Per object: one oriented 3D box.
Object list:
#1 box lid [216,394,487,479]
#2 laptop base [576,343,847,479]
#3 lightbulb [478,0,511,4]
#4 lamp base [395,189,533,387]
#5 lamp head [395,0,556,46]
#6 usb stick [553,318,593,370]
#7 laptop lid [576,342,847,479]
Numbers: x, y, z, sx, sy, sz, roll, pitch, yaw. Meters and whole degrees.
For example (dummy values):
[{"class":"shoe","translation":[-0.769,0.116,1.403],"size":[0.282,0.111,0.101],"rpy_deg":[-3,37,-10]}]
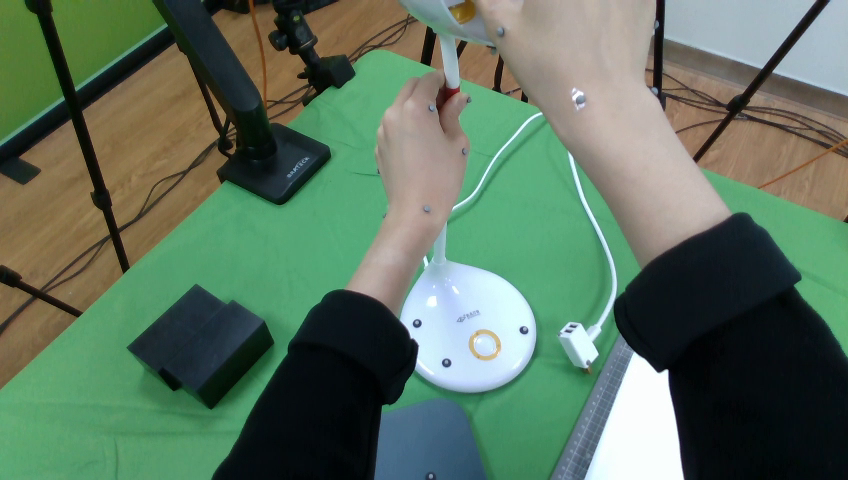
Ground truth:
[{"class":"box lid","translation":[-0.042,0.332,0.544],"size":[0.264,0.015,0.367],"rpy_deg":[-13,55,-9]},{"class":"laptop base","translation":[0.332,0.266,0.582],"size":[0.352,0.023,0.234],"rpy_deg":[23,61,17]},{"class":"lightbulb","translation":[0.032,-0.181,0.379],"size":[0.059,0.060,0.106],"rpy_deg":[-27,32,-18]},{"class":"lamp base","translation":[0.037,0.042,0.650],"size":[0.160,0.182,0.177],"rpy_deg":[-31,56,-21]},{"class":"lamp head","translation":[0.019,-0.190,0.409],"size":[0.112,0.113,0.122],"rpy_deg":[-32,29,-21]},{"class":"usb stick","translation":[0.169,0.117,0.676],"size":[0.027,0.059,0.021],"rpy_deg":[-37,19,-28]},{"class":"laptop lid","translation":[0.330,0.261,0.572],"size":[0.355,0.013,0.240],"rpy_deg":[24,60,18]}]
